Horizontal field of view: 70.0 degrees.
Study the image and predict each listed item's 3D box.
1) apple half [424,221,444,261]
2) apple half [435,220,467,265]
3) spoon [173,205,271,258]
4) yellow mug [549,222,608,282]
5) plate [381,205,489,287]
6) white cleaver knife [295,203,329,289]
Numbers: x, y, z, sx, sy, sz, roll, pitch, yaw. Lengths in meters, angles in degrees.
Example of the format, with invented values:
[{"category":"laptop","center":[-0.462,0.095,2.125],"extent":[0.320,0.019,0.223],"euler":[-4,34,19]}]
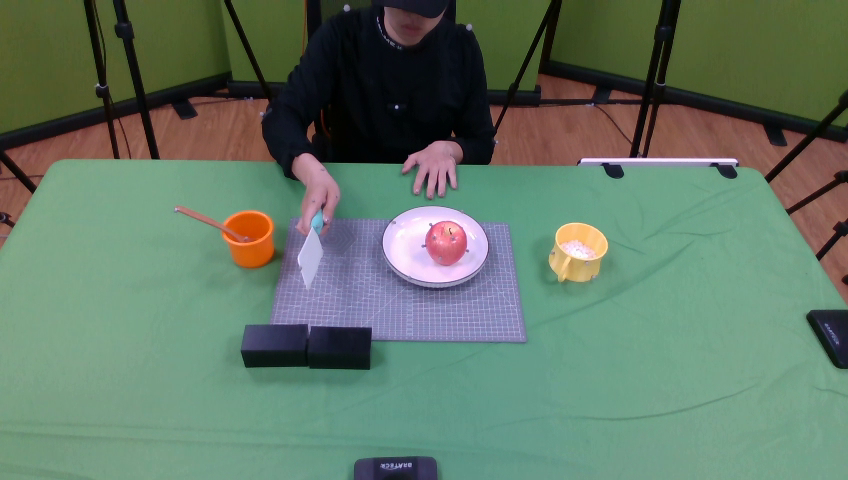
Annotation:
[{"category":"apple half","center":[0.016,0.002,1.145],"extent":[0.033,0.081,0.081],"euler":[13,46,3]},{"category":"apple half","center":[0.054,0.009,1.142],"extent":[0.053,0.075,0.080],"euler":[14,43,3]},{"category":"spoon","center":[-0.362,-0.017,1.098],"extent":[0.021,0.195,0.041],"euler":[-32,42,27]},{"category":"yellow mug","center":[0.287,0.031,1.159],"extent":[0.099,0.064,0.130],"euler":[27,51,21]},{"category":"plate","center":[0.021,0.015,1.170],"extent":[0.209,0.038,0.208],"euler":[2,46,-2]},{"category":"white cleaver knife","center":[-0.194,0.003,1.064],"extent":[0.021,0.066,0.285],"euler":[-10,22,4]}]
